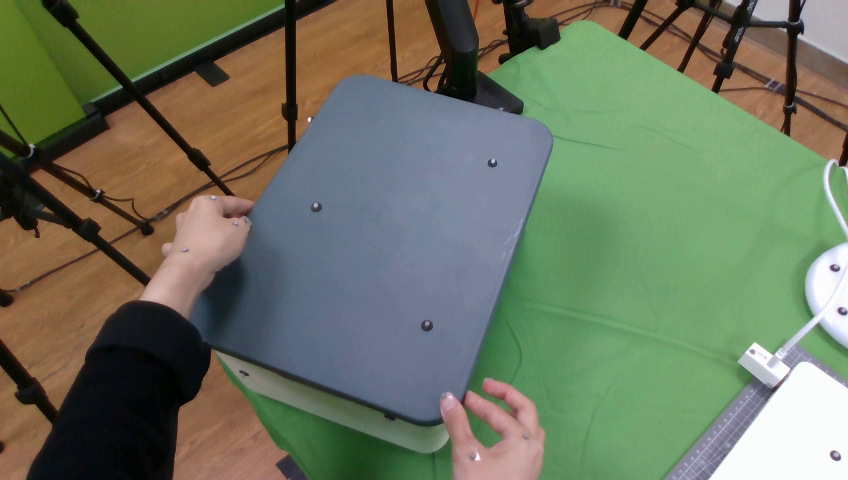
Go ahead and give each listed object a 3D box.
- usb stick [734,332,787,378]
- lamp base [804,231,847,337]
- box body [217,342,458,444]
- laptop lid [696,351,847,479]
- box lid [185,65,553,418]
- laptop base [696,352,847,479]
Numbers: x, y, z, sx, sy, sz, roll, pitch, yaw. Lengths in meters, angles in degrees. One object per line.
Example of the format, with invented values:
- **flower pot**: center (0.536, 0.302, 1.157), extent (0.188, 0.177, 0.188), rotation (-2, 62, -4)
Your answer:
- **usb stick**: center (0.374, 0.130, 0.662), extent (0.021, 0.027, 0.058), rotation (-33, 64, -25)
- **lamp base**: center (0.536, 0.008, 0.662), extent (0.160, 0.182, 0.177), rotation (7, 53, 5)
- **box body**: center (-0.037, 0.011, 0.677), extent (0.253, 0.162, 0.362), rotation (17, 58, 12)
- **laptop lid**: center (0.450, 0.289, 0.554), extent (0.241, 0.013, 0.353), rotation (-38, 63, -20)
- **box lid**: center (-0.036, -0.031, 0.607), extent (0.262, 0.015, 0.369), rotation (18, 59, 10)
- **laptop base**: center (0.452, 0.295, 0.565), extent (0.235, 0.023, 0.351), rotation (-40, 64, -19)
